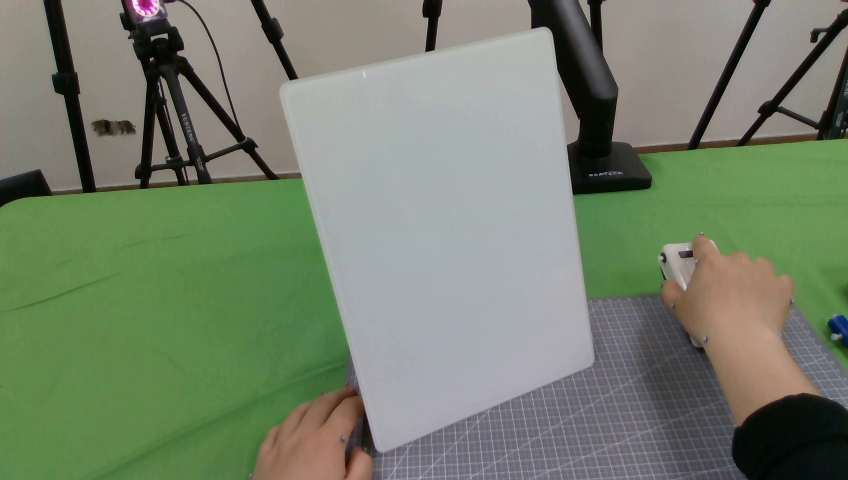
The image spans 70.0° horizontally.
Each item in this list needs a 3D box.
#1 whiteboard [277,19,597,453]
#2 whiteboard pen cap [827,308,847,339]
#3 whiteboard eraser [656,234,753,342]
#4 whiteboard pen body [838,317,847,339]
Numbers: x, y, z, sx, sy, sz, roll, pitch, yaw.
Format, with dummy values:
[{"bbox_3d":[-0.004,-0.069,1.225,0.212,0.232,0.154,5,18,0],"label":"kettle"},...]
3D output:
[{"bbox_3d":[0.008,-0.013,0.542,0.217,0.307,0.142,-18,19,-16],"label":"whiteboard"},{"bbox_3d":[0.395,0.079,0.566,0.018,0.018,0.033,-5,35,-1],"label":"whiteboard pen cap"},{"bbox_3d":[0.270,0.046,0.591,0.055,0.042,0.111,-7,49,4],"label":"whiteboard eraser"},{"bbox_3d":[0.399,0.115,0.520,0.017,0.017,0.139,-5,36,0],"label":"whiteboard pen body"}]
